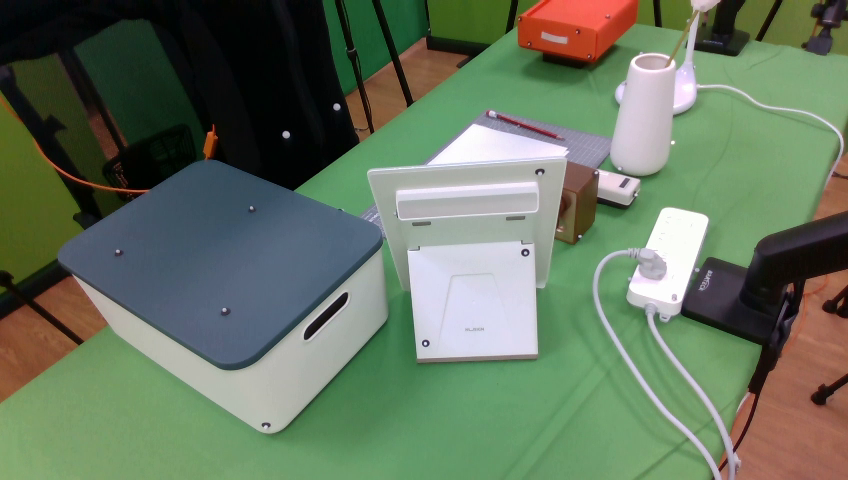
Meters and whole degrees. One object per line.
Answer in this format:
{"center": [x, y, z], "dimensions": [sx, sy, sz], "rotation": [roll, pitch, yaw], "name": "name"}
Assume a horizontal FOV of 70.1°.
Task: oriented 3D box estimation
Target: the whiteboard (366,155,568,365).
{"center": [0.059, 0.050, 0.738], "dimensions": [0.217, 0.307, 0.143], "rotation": [-3, 60, 5], "name": "whiteboard"}

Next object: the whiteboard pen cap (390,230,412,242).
{"center": [-0.036, -0.006, 0.980], "dimensions": [0.033, 0.018, 0.018], "rotation": [9, 43, 17], "name": "whiteboard pen cap"}

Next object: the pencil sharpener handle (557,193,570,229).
{"center": [0.195, -0.038, 0.908], "dimensions": [0.035, 0.068, 0.031], "rotation": [24, 50, 30], "name": "pencil sharpener handle"}

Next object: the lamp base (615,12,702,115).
{"center": [0.484, -0.363, 1.211], "dimensions": [0.180, 0.181, 0.159], "rotation": [-15, 41, -14], "name": "lamp base"}

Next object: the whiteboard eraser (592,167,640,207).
{"center": [0.303, -0.091, 1.024], "dimensions": [0.112, 0.042, 0.056], "rotation": [21, 49, 28], "name": "whiteboard eraser"}

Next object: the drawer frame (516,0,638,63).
{"center": [0.355, -0.508, 1.410], "dimensions": [0.200, 0.083, 0.214], "rotation": [23, 51, 32], "name": "drawer frame"}

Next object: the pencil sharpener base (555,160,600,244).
{"center": [0.228, -0.057, 0.945], "dimensions": [0.061, 0.107, 0.077], "rotation": [24, 50, 31], "name": "pencil sharpener base"}

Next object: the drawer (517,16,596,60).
{"center": [0.353, -0.506, 1.405], "dimensions": [0.193, 0.073, 0.212], "rotation": [23, 49, 32], "name": "drawer"}

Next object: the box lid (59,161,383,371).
{"center": [-0.262, 0.010, 0.777], "dimensions": [0.369, 0.015, 0.264], "rotation": [21, 48, 29], "name": "box lid"}

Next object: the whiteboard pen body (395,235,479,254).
{"center": [0.019, 0.005, 0.963], "dimensions": [0.140, 0.017, 0.017], "rotation": [9, 43, 17], "name": "whiteboard pen body"}

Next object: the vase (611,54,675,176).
{"center": [0.377, -0.209, 1.031], "dimensions": [0.098, 0.201, 0.097], "rotation": [-3, 40, 3], "name": "vase"}

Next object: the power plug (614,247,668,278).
{"center": [0.306, 0.031, 0.851], "dimensions": [0.072, 0.053, 0.035], "rotation": [24, 49, 33], "name": "power plug"}

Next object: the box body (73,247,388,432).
{"center": [-0.255, 0.065, 0.827], "dimensions": [0.361, 0.161, 0.255], "rotation": [21, 48, 29], "name": "box body"}

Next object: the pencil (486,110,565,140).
{"center": [0.204, -0.233, 1.226], "dimensions": [0.192, 0.012, 0.012], "rotation": [29, 52, 33], "name": "pencil"}

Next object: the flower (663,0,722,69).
{"center": [0.379, -0.261, 0.965], "dimensions": [0.044, 0.362, 0.038], "rotation": [21, 53, 5], "name": "flower"}

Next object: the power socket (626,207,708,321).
{"center": [0.359, 0.025, 0.886], "dimensions": [0.072, 0.033, 0.227], "rotation": [16, 46, 26], "name": "power socket"}
